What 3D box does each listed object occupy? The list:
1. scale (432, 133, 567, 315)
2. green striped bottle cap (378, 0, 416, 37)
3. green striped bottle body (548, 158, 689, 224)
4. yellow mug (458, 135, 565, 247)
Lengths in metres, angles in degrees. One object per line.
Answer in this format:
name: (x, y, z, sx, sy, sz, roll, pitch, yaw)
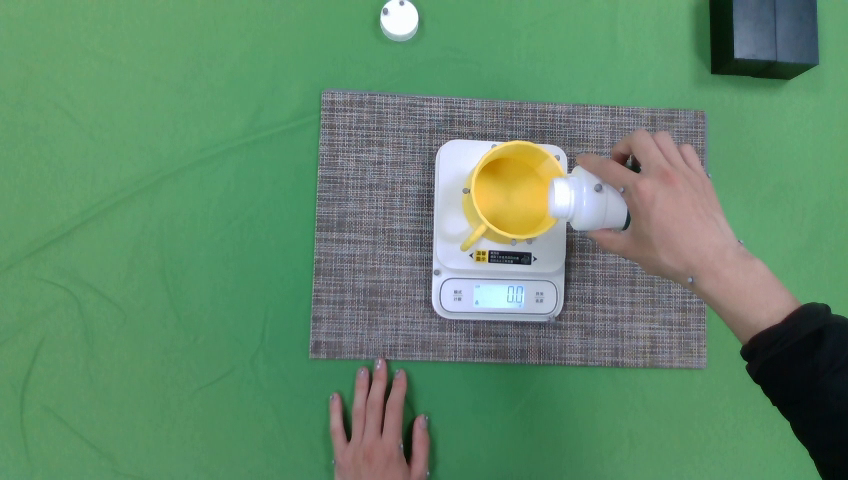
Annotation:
scale: (0.085, -0.017, 0.675, 0.149, 0.031, 0.200, 2, 86, -3)
green striped bottle cap: (-0.031, -0.258, 0.697, 0.044, 0.020, 0.044, 0, 89, -4)
green striped bottle body: (0.179, -0.046, 0.570, 0.119, 0.063, 0.063, 0, 86, 1)
yellow mug: (0.081, -0.042, 0.629, 0.100, 0.064, 0.131, 42, 85, 0)
